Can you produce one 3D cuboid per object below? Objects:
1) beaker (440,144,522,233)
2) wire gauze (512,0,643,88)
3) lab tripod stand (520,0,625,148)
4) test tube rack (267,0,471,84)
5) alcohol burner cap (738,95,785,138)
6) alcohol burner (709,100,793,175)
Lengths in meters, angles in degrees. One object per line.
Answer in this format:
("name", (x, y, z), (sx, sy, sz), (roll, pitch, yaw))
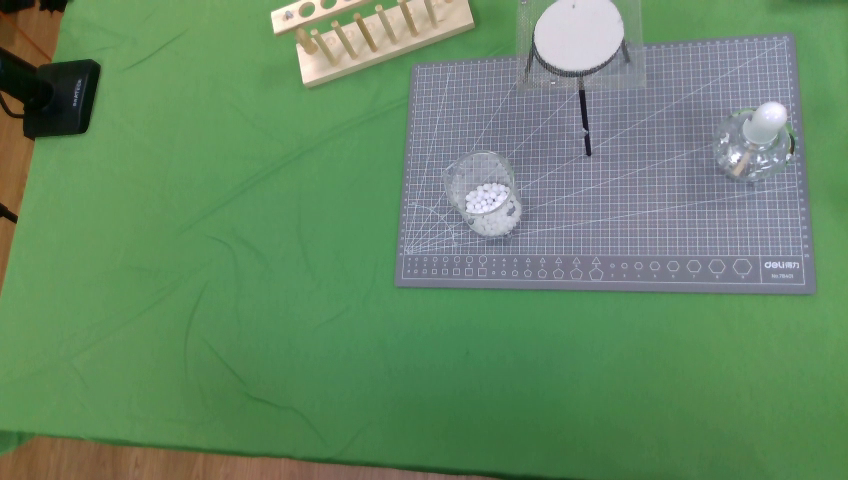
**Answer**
("beaker", (0.066, -0.053, 0.675), (0.083, 0.101, 0.074), (20, 81, 20))
("wire gauze", (0.150, -0.209, 0.601), (0.125, 0.011, 0.121), (-1, 78, 15))
("lab tripod stand", (0.167, -0.192, 0.664), (0.148, 0.132, 0.147), (-3, 76, 13))
("test tube rack", (-0.070, -0.288, 0.782), (0.242, 0.086, 0.066), (-17, 72, 10))
("alcohol burner cap", (0.322, -0.120, 0.575), (0.034, 0.048, 0.033), (-2, 79, 11))
("alcohol burner", (0.332, -0.111, 0.608), (0.078, 0.120, 0.077), (-3, 75, 13))
